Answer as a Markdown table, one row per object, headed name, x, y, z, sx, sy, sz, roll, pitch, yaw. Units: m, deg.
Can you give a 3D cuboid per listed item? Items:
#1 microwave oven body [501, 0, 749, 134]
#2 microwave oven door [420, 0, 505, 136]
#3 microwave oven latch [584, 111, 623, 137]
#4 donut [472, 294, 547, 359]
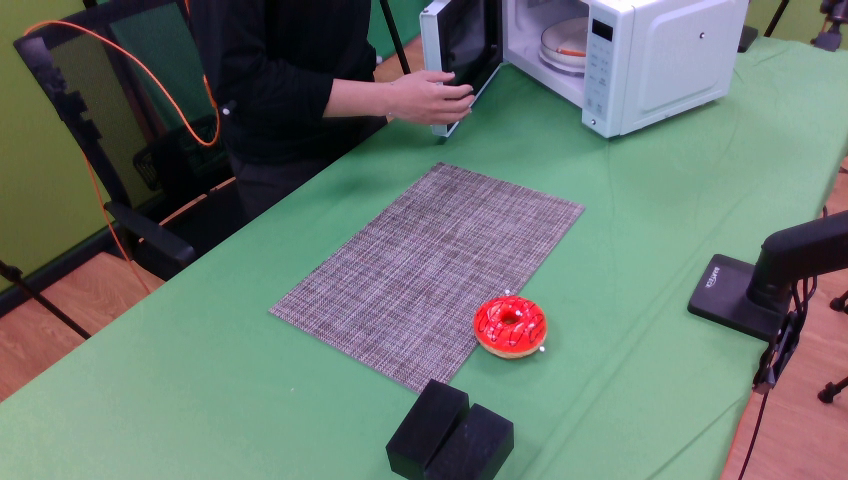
| name | x | y | z | sx | sy | sz | roll | pitch | yaw |
| --- | --- | --- | --- | --- | --- | --- | --- | --- | --- |
| microwave oven body | 0.382 | -0.444 | 1.246 | 0.327 | 0.261 | 0.437 | -22 | 42 | -16 |
| microwave oven door | 0.089 | -0.409 | 1.237 | 0.039 | 0.245 | 0.356 | 12 | 44 | 21 |
| microwave oven latch | 0.337 | -0.222 | 1.142 | 0.030 | 0.029 | 0.078 | -21 | 42 | -14 |
| donut | 0.114 | 0.114 | 0.803 | 0.099 | 0.048 | 0.098 | 0 | 40 | 1 |
